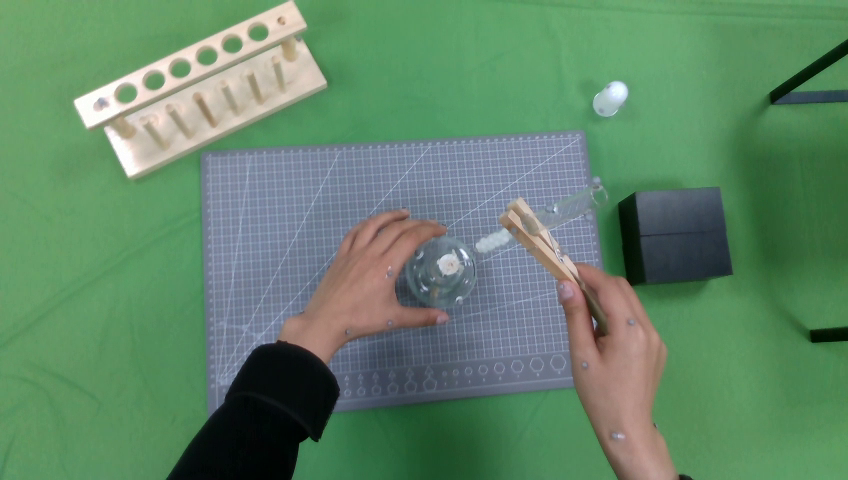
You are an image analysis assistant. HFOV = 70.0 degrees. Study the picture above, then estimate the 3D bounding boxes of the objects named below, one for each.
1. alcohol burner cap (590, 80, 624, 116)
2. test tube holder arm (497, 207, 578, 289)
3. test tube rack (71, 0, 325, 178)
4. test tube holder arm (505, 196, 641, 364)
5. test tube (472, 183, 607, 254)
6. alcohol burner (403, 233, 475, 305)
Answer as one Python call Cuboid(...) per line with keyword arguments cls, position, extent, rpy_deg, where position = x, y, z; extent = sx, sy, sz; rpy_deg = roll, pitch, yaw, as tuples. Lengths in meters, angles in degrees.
Cuboid(cls="alcohol burner cap", position=(0.221, -0.171, 0.725), extent=(0.034, 0.048, 0.033), rpy_deg=(1, 79, -4))
Cuboid(cls="test tube holder arm", position=(0.091, 0.008, 0.480), extent=(0.088, 0.015, 0.010), rpy_deg=(43, 64, -17))
Cuboid(cls="test tube rack", position=(-0.234, -0.162, 0.658), extent=(0.242, 0.085, 0.066), rpy_deg=(-29, 83, -9))
Cuboid(cls="test tube holder arm", position=(0.124, 0.036, 0.494), extent=(0.179, 0.015, 0.013), rpy_deg=(49, 63, -14))
Cuboid(cls="test tube", position=(0.082, -0.013, 0.469), extent=(0.017, 0.150, 0.017), rpy_deg=(9, 71, -28))
Cuboid(cls="alcohol burner", position=(0.017, 0.028, 0.633), extent=(0.078, 0.119, 0.077), rpy_deg=(1, 81, -5))
